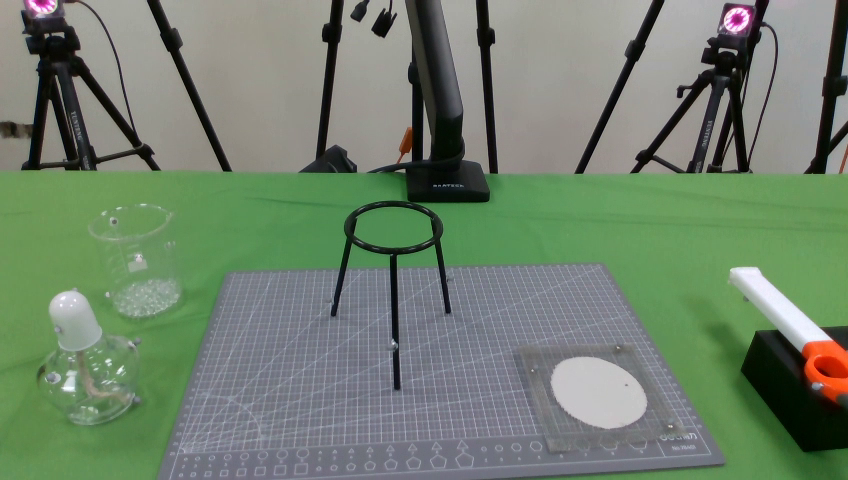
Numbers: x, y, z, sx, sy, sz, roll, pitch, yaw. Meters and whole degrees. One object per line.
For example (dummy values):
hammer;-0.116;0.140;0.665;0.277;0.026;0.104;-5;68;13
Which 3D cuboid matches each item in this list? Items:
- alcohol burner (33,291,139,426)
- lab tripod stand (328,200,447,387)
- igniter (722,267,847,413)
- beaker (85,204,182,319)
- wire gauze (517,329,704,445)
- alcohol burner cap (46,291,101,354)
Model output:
alcohol burner;-0.279;0.092;0.495;0.078;0.120;0.077;3;29;-1
lab tripod stand;-0.030;0.042;0.573;0.148;0.132;0.147;4;32;-2
igniter;0.342;0.101;0.523;0.057;0.025;0.274;-2;29;-4
beaker;-0.291;0.022;0.624;0.073;0.101;0.084;29;39;35
wire gauze;0.164;0.127;0.541;0.125;0.011;0.120;-7;30;-27
alcohol burner cap;-0.279;0.062;0.477;0.034;0.048;0.033;3;36;-2
